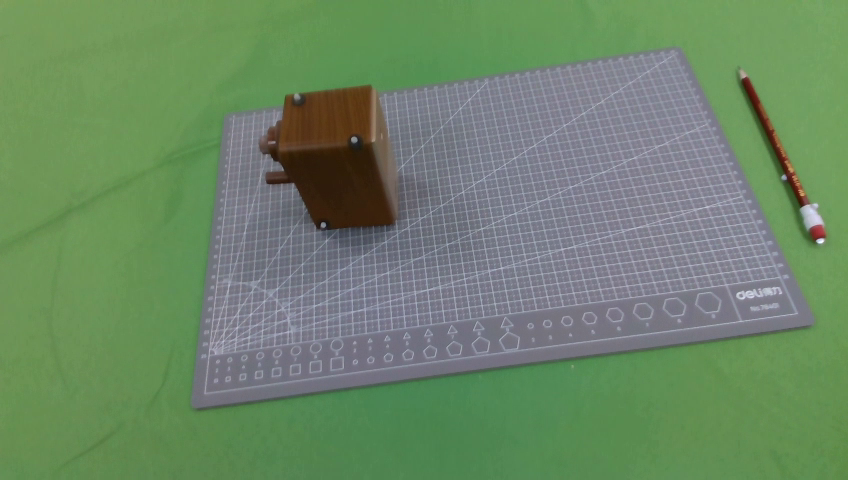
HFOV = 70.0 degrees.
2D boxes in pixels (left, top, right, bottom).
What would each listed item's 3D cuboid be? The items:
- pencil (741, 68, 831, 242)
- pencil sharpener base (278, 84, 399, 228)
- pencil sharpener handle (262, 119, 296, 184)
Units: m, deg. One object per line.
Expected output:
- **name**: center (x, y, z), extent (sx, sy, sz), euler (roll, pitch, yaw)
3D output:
- **pencil**: center (0.299, -0.080, 0.509), extent (0.012, 0.012, 0.192), euler (-5, 56, 5)
- **pencil sharpener base**: center (-0.065, -0.062, 0.482), extent (0.076, 0.108, 0.061), euler (-5, 57, 5)
- **pencil sharpener handle**: center (-0.117, -0.065, 0.476), extent (0.030, 0.068, 0.035), euler (-5, 61, 5)
